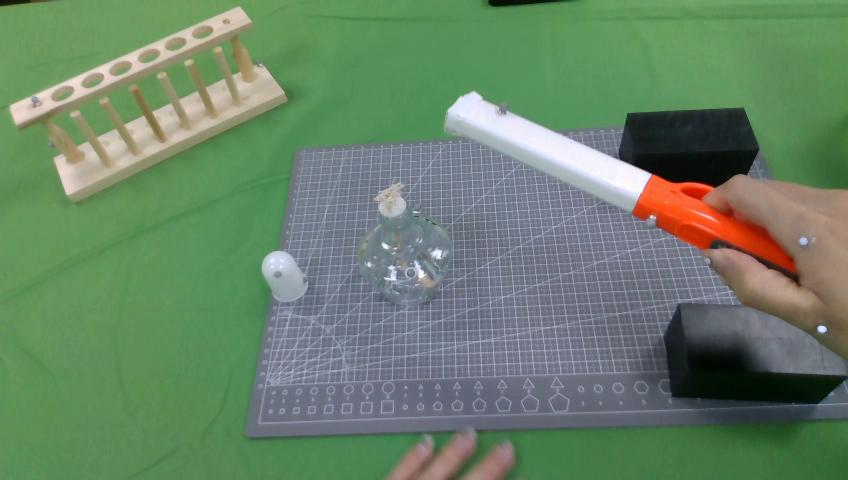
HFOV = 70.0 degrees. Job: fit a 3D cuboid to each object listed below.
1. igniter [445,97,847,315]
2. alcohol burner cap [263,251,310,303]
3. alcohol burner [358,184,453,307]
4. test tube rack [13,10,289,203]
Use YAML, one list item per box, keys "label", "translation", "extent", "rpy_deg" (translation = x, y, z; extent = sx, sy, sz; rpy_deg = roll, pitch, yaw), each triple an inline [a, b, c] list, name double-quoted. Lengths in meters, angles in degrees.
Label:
- label: "igniter"
  translation: [0.139, -0.023, 0.357]
  extent: [0.275, 0.025, 0.057]
  rpy_deg: [26, 48, 15]
- label: "alcohol burner cap"
  translation: [-0.118, 0.028, 0.513]
  extent: [0.034, 0.048, 0.033]
  rpy_deg: [-3, 56, 6]
- label: "alcohol burner"
  translation: [-0.017, 0.001, 0.476]
  extent: [0.078, 0.120, 0.077]
  rpy_deg: [-4, 52, 5]
- label: "test tube rack"
  translation: [-0.272, -0.140, 0.628]
  extent: [0.242, 0.086, 0.066]
  rpy_deg: [-29, 57, -14]
